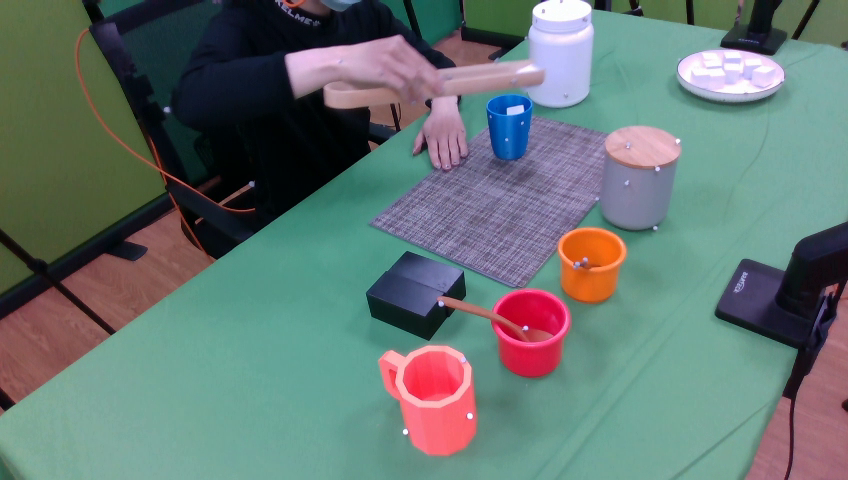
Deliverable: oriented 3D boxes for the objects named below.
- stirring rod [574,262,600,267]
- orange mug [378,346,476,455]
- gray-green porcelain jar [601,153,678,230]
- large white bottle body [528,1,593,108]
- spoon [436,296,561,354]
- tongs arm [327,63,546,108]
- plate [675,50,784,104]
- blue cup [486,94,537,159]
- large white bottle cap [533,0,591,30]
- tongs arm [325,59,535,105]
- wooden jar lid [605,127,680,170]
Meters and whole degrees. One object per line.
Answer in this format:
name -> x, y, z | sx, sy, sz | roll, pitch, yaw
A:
stirring rod -> 0.221, 0.033, 0.817 | 0.014, 0.006, 0.177 | 9, 1, 22
orange mug -> 0.002, 0.179, 0.709 | 0.125, 0.101, 0.083 | 25, 50, 27
gray-green porcelain jar -> 0.334, -0.087, 0.949 | 0.106, 0.127, 0.105 | -4, 40, 4
large white bottle body -> 0.283, -0.386, 1.259 | 0.130, 0.185, 0.130 | -5, 41, 4
spoon -> 0.095, 0.102, 0.750 | 0.195, 0.021, 0.041 | 28, 31, -28
tongs arm -> 0.035, -0.251, 0.971 | 0.390, 0.028, 0.028 | -14, 37, -23
plate -> 0.631, -0.336, 1.262 | 0.207, 0.039, 0.206 | -4, 41, 4
blue cup -> 0.160, -0.208, 1.129 | 0.092, 0.100, 0.092 | -3, 39, 3
large white bottle cap -> 0.274, -0.449, 1.204 | 0.115, 0.018, 0.114 | -4, 41, 4
tongs arm -> 0.025, -0.261, 0.988 | 0.387, 0.026, 0.050 | -12, 33, -19
wooden jar lid -> 0.327, -0.134, 0.909 | 0.108, 0.021, 0.108 | -2, 43, 2
